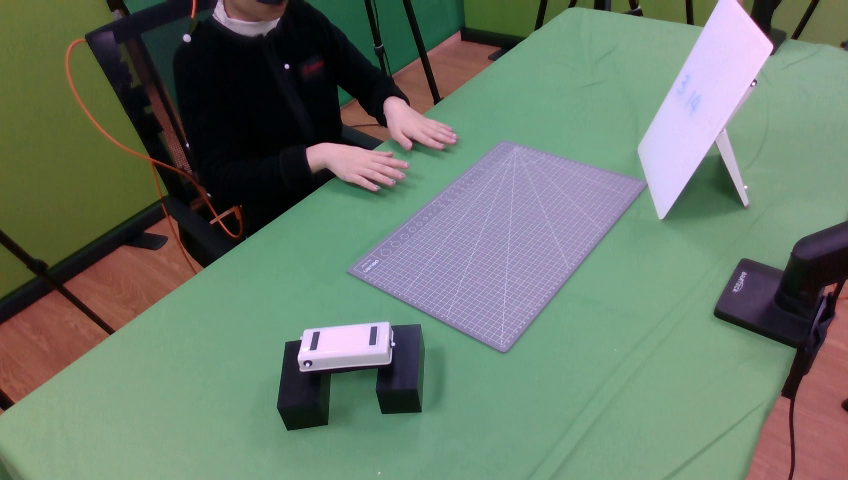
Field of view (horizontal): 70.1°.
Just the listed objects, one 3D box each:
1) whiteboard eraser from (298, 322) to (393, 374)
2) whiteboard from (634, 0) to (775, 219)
[{"bbox_3d":[-0.094,0.134,0.740,0.113,0.042,0.055,-5,41,3],"label":"whiteboard eraser"},{"bbox_3d":[0.485,-0.193,0.957,0.144,0.305,0.216,14,41,-4],"label":"whiteboard"}]
